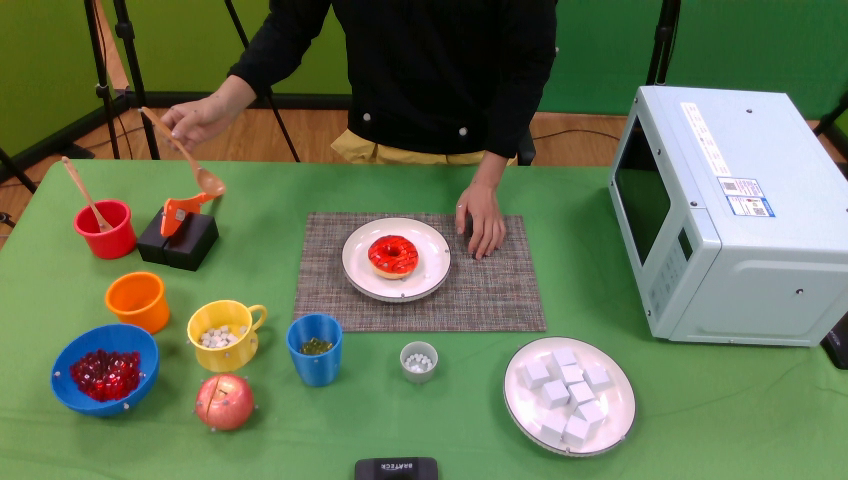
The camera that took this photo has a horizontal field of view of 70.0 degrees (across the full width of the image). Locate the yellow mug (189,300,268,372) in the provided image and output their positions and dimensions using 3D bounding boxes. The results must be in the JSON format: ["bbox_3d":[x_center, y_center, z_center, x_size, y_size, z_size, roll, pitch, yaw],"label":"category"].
[{"bbox_3d":[-0.315,0.148,1.001,0.131,0.064,0.099,-33,55,-31],"label":"yellow mug"}]

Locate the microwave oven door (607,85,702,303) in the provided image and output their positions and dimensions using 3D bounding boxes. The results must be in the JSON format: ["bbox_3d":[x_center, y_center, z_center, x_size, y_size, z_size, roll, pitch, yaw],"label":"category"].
[{"bbox_3d":[0.423,-0.094,1.141,0.039,0.245,0.353,2,46,-1],"label":"microwave oven door"}]

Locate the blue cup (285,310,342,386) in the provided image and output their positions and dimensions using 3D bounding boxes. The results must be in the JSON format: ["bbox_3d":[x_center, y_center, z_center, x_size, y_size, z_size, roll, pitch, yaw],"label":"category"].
[{"bbox_3d":[-0.170,0.179,0.958,0.093,0.101,0.092,2,44,-1],"label":"blue cup"}]

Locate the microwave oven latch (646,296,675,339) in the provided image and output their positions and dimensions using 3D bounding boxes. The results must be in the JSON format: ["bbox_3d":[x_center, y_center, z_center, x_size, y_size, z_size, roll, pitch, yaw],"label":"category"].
[{"bbox_3d":[0.412,0.134,1.061,0.030,0.029,0.078,4,45,1],"label":"microwave oven latch"}]

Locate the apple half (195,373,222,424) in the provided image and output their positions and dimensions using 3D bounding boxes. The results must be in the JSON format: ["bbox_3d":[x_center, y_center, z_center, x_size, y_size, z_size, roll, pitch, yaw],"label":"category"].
[{"bbox_3d":[-0.322,0.240,0.907,0.033,0.081,0.081,6,46,0],"label":"apple half"}]

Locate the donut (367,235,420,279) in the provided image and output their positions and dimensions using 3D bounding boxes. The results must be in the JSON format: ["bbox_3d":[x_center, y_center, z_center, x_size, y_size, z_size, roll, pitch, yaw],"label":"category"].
[{"bbox_3d":[-0.056,0.032,1.131,0.099,0.048,0.098,3,45,-3],"label":"donut"}]

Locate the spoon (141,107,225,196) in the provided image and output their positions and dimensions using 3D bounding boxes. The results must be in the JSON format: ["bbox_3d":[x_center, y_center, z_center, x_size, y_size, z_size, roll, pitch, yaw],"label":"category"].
[{"bbox_3d":[-0.420,-0.154,1.057,0.194,0.021,0.041,54,49,-15],"label":"spoon"}]

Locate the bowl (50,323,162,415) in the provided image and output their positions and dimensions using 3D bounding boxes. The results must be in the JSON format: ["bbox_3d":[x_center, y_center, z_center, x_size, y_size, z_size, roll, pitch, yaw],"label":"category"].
[{"bbox_3d":[-0.472,0.209,0.924,0.151,0.077,0.150,3,45,-2],"label":"bowl"}]

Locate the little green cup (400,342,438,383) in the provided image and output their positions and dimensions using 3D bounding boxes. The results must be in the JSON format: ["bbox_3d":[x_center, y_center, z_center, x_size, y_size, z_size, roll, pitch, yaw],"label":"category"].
[{"bbox_3d":[-0.010,0.202,0.991,0.061,0.039,0.061,2,47,-2],"label":"little green cup"}]

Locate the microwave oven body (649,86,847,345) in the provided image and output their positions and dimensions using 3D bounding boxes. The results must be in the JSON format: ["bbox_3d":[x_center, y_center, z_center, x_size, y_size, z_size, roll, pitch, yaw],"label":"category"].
[{"bbox_3d":[0.568,-0.053,1.118,0.326,0.261,0.439,2,45,-1],"label":"microwave oven body"}]

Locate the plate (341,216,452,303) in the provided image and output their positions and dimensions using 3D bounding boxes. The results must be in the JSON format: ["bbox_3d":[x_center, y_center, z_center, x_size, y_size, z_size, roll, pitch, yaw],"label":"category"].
[{"bbox_3d":[-0.052,0.039,1.140,0.209,0.038,0.208,2,46,-2],"label":"plate"}]

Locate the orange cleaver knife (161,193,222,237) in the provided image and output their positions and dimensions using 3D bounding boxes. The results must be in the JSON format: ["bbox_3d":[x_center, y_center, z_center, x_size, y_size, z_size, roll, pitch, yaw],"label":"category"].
[{"bbox_3d":[-0.448,-0.058,1.180,0.012,0.077,0.211,13,17,6],"label":"orange cleaver knife"}]

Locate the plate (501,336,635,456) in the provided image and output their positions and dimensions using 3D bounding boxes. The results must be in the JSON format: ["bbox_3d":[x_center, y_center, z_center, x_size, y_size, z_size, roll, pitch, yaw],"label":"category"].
[{"bbox_3d":[0.225,0.248,0.963,0.208,0.039,0.206,2,46,-2],"label":"plate"}]

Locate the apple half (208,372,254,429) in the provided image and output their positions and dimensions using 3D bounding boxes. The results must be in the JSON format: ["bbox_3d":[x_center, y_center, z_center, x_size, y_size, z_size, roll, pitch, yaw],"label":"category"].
[{"bbox_3d":[-0.283,0.244,0.908,0.053,0.075,0.080,7,42,-1],"label":"apple half"}]

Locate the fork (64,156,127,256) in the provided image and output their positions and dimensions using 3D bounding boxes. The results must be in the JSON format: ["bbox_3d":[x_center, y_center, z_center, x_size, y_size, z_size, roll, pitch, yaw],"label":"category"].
[{"bbox_3d":[-0.614,-0.064,1.129,0.028,0.018,0.207,-30,96,-15],"label":"fork"}]
